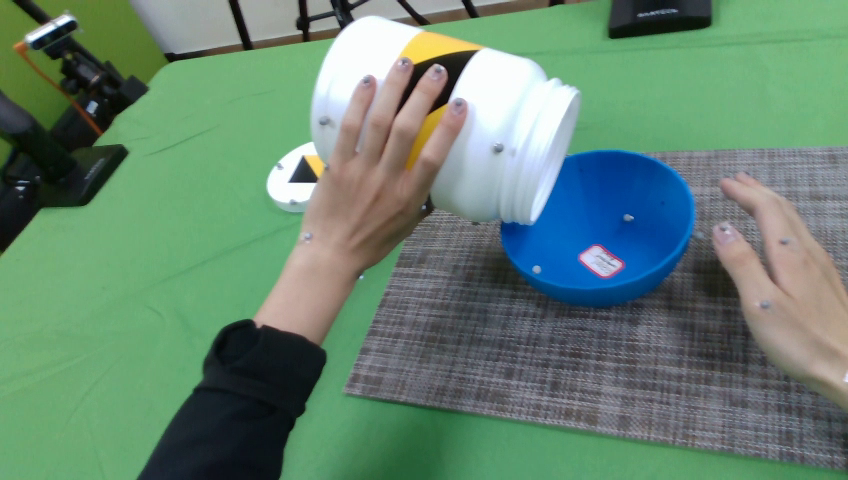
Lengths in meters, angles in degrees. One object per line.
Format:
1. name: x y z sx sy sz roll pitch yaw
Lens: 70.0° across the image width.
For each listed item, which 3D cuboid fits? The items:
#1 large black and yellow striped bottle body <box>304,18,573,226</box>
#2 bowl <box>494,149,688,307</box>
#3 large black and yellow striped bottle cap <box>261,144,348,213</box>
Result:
1. large black and yellow striped bottle body: 0.014 -0.091 0.485 0.183 0.132 0.130 20 59 14
2. bowl: 0.140 0.003 0.508 0.151 0.077 0.150 -12 47 13
3. large black and yellow striped bottle cap: -0.148 -0.080 0.753 0.115 0.019 0.114 -11 47 12
